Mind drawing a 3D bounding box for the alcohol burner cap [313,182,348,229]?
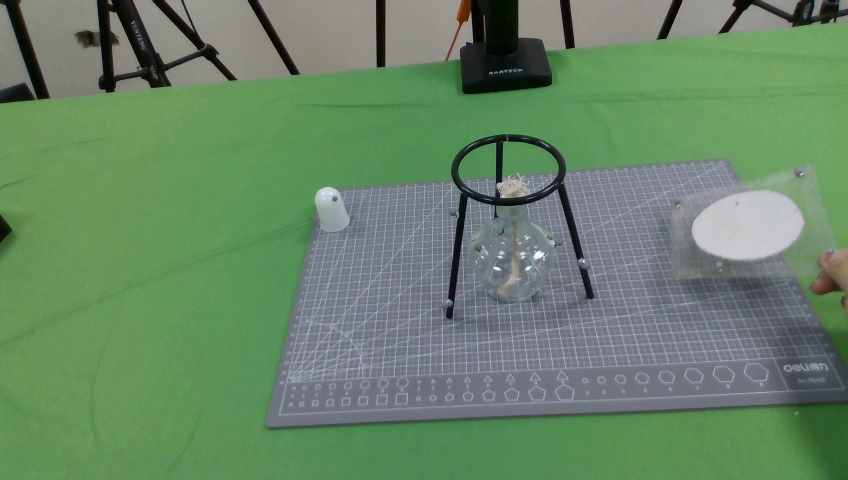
[{"bbox_3d":[-0.099,-0.039,0.633,0.034,0.048,0.033,-4,45,4],"label":"alcohol burner cap"}]

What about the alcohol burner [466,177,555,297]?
[{"bbox_3d":[0.075,-0.007,0.522,0.078,0.120,0.077,-3,44,3],"label":"alcohol burner"}]

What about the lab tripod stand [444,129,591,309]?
[{"bbox_3d":[0.075,-0.016,0.517,0.148,0.133,0.147,-3,43,3],"label":"lab tripod stand"}]

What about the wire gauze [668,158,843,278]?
[{"bbox_3d":[0.274,-0.017,0.518,0.124,0.011,0.120,-10,41,30],"label":"wire gauze"}]
